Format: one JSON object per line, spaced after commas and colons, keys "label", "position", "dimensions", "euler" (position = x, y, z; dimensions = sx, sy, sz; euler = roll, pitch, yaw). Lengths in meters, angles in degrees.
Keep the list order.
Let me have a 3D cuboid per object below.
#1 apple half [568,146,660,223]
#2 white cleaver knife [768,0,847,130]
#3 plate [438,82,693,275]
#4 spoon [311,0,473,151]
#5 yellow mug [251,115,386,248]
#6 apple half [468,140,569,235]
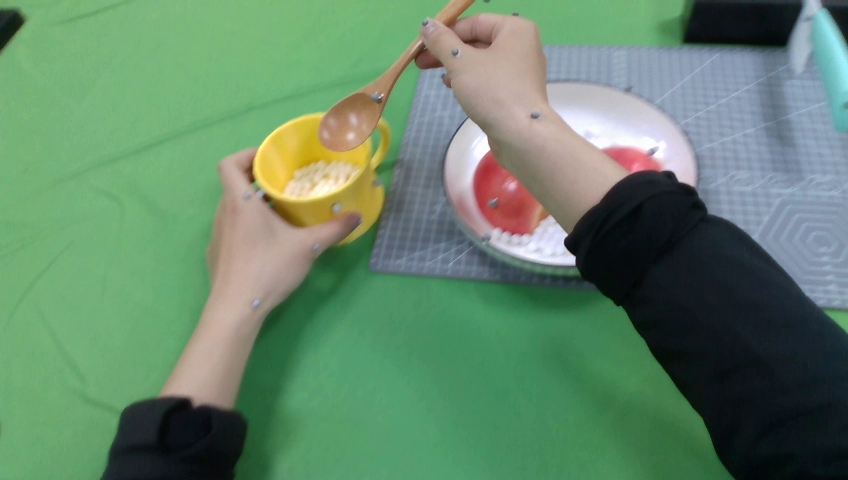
{"label": "apple half", "position": [0.159, -0.055, 0.506], "dimensions": [0.081, 0.033, 0.080], "euler": [-3, 57, 4]}
{"label": "white cleaver knife", "position": [0.358, -0.200, 0.575], "dimensions": [0.021, 0.066, 0.284], "euler": [2, 51, 14]}
{"label": "plate", "position": [0.116, -0.054, 0.519], "dimensions": [0.209, 0.038, 0.207], "euler": [-3, 54, 5]}
{"label": "spoon", "position": [-0.013, -0.138, 0.455], "dimensions": [0.194, 0.022, 0.041], "euler": [-42, 75, 17]}
{"label": "yellow mug", "position": [-0.082, -0.062, 0.536], "dimensions": [0.099, 0.064, 0.130], "euler": [35, 65, 26]}
{"label": "apple half", "position": [0.077, -0.052, 0.503], "dimensions": [0.081, 0.054, 0.074], "euler": [-32, 55, -15]}
